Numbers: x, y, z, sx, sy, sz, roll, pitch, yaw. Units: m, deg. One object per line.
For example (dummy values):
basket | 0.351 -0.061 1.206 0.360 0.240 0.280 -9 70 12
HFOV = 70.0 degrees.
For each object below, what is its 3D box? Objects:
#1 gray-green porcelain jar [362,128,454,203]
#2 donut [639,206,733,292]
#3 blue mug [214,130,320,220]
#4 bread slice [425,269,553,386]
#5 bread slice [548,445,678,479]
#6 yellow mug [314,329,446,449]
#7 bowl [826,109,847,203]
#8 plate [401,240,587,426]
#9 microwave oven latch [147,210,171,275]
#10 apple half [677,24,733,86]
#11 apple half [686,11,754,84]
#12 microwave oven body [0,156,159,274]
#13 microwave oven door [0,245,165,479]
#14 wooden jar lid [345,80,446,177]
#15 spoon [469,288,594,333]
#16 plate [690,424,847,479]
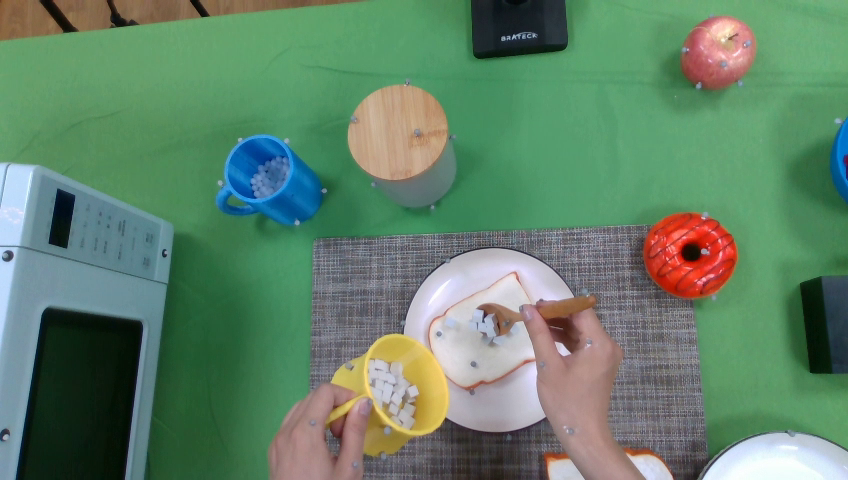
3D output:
gray-green porcelain jar | -0.020 -0.104 0.707 0.106 0.127 0.105 -2 78 8
donut | 0.292 0.010 0.678 0.099 0.048 0.098 -1 80 8
blue mug | -0.196 -0.068 0.735 0.116 0.106 0.082 -27 76 2
bread slice | 0.069 0.107 0.698 0.131 0.019 0.104 -27 76 -1
bread slice | 0.202 0.270 0.621 0.135 0.018 0.106 -6 75 -13
yellow mug | -0.047 0.147 0.577 0.064 0.131 0.099 -38 71 39
bowl | 0.503 -0.083 0.652 0.151 0.077 0.150 -2 79 8
plate | 0.078 0.105 0.694 0.207 0.039 0.206 -2 79 8
microwave oven latch | -0.338 0.003 0.758 0.030 0.029 0.079 3 80 8
apple half | 0.316 -0.205 0.703 0.033 0.082 0.081 -34 76 -4
apple half | 0.348 -0.228 0.705 0.053 0.075 0.080 -33 72 -5
microwave oven body | -0.506 0.155 0.653 0.325 0.261 0.440 1 80 8
microwave oven door | -0.365 0.199 0.619 0.039 0.245 0.354 1 79 9
wooden jar lid | -0.030 -0.117 0.646 0.108 0.021 0.108 -2 77 8
spoon | 0.098 0.068 0.587 0.021 0.193 0.041 -33 93 -25
plate | 0.370 0.294 0.619 0.209 0.038 0.208 -2 79 8
